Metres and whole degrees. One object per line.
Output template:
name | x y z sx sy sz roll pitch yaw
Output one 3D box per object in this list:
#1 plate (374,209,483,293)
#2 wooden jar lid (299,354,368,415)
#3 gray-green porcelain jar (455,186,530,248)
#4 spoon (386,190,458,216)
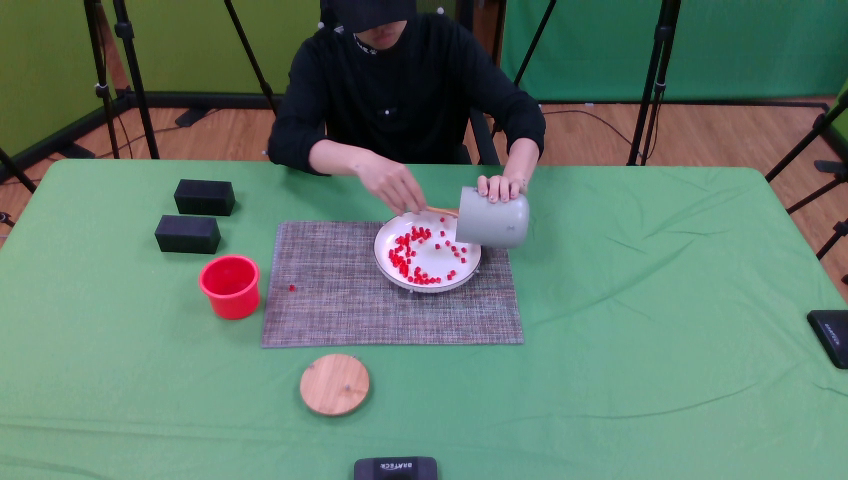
plate | 0.008 0.023 1.158 0.208 0.039 0.206 2 46 -2
wooden jar lid | -0.143 0.232 0.964 0.108 0.021 0.107 2 45 -2
gray-green porcelain jar | 0.125 -0.041 1.109 0.126 0.106 0.105 7 46 3
spoon | 0.022 -0.057 1.105 0.194 0.022 0.041 15 18 -4
